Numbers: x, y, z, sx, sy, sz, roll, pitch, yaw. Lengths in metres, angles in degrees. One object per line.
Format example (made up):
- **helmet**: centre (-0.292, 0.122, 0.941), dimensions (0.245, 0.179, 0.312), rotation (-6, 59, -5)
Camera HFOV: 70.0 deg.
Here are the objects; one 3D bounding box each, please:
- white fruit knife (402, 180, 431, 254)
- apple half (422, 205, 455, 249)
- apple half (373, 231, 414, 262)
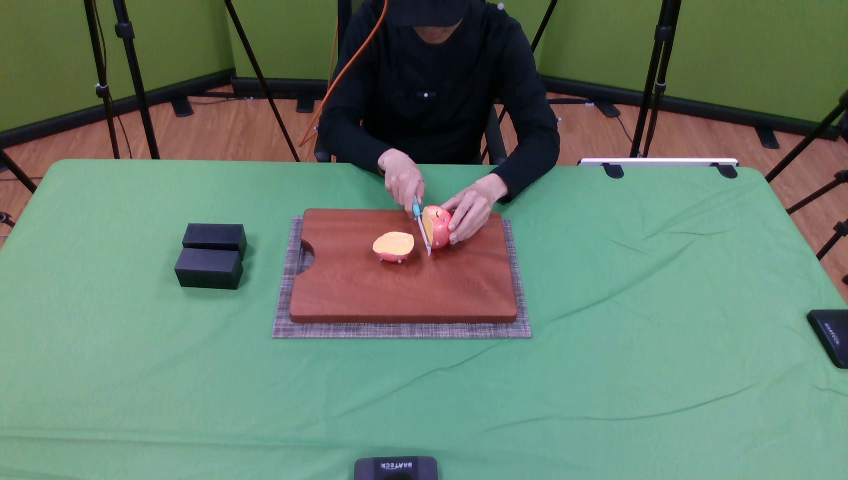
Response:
- **white fruit knife**: centre (-0.012, -0.048, 1.174), dimensions (0.016, 0.027, 0.206), rotation (-10, 48, -11)
- **apple half**: centre (0.030, -0.024, 1.145), dimensions (0.053, 0.075, 0.080), rotation (-6, 43, -15)
- **apple half**: centre (-0.052, 0.017, 1.127), dimensions (0.081, 0.033, 0.081), rotation (-3, 33, 2)
